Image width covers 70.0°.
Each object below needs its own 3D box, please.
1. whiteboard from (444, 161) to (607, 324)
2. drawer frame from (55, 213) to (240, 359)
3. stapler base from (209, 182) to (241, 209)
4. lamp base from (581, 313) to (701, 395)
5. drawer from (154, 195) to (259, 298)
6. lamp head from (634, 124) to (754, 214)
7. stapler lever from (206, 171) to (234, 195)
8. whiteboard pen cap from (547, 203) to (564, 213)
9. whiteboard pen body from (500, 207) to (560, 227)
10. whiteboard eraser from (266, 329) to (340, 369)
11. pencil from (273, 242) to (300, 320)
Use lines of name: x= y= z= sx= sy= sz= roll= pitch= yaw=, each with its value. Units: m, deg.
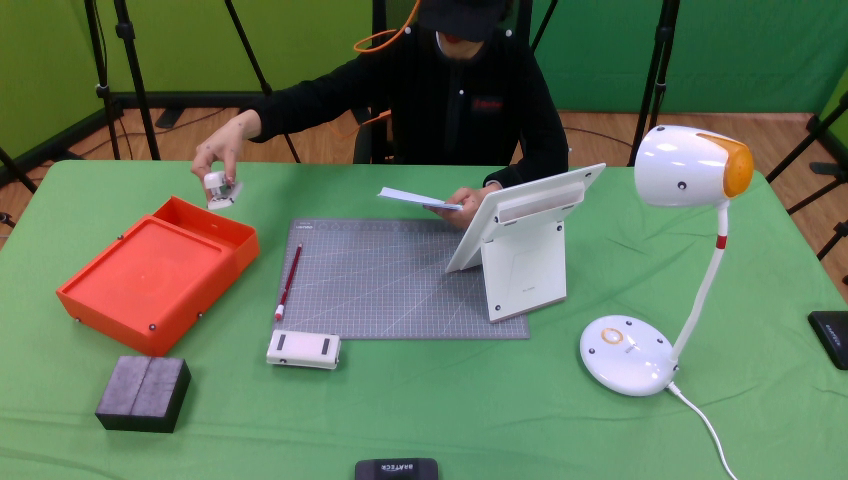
whiteboard: x=0.186 y=0.025 z=1.029 sx=0.217 sy=0.306 sz=0.143 roll=-15 pitch=68 yaw=-18
drawer frame: x=-0.469 y=0.072 z=1.050 sx=0.201 sy=0.083 sz=0.213 roll=21 pitch=49 yaw=14
stapler base: x=-0.357 y=-0.085 z=1.084 sx=0.041 sy=0.024 sz=0.130 roll=-10 pitch=19 yaw=-6
lamp base: x=0.361 y=0.144 z=0.973 sx=0.178 sy=0.181 sz=0.160 roll=34 pitch=53 yaw=23
drawer: x=-0.442 y=0.033 z=1.093 sx=0.194 sy=0.073 sz=0.211 roll=21 pitch=49 yaw=15
lamp head: x=0.351 y=-0.089 z=0.776 sx=0.112 sy=0.113 sz=0.122 roll=-30 pitch=30 yaw=-28
stapler lever: x=-0.362 y=-0.109 z=1.076 sx=0.027 sy=0.040 sz=0.117 roll=-10 pitch=19 yaw=-6
whiteboard pen cap: x=0.277 y=-0.066 z=1.275 sx=0.033 sy=0.018 sz=0.018 roll=-19 pitch=50 yaw=-15
whiteboard pen body: x=0.222 y=-0.051 z=1.259 sx=0.141 sy=0.017 sz=0.017 roll=-15 pitch=49 yaw=-16
whiteboard eraser: x=-0.198 y=0.181 z=0.994 sx=0.113 sy=0.042 sz=0.055 roll=5 pitch=45 yaw=1
pencil: x=-0.250 y=0.071 z=1.115 sx=0.012 sy=0.012 sz=0.193 roll=5 pitch=43 yaw=0
